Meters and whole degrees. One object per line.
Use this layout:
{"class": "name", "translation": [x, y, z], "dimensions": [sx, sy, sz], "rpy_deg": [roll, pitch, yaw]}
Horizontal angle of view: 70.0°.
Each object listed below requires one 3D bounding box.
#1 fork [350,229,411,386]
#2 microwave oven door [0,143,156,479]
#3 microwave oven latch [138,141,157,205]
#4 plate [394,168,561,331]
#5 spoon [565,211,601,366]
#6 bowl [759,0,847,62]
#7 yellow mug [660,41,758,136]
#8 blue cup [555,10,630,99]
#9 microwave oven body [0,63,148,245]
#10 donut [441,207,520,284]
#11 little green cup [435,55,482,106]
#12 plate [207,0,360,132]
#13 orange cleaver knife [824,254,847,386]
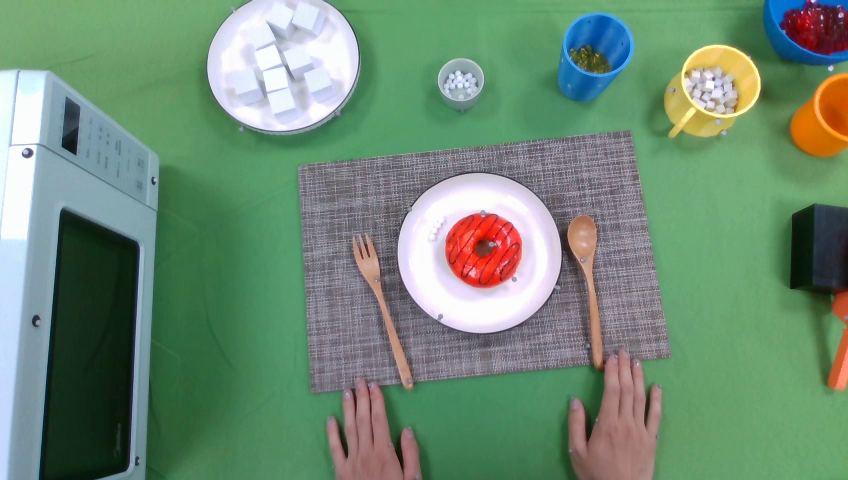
{"class": "fork", "translation": [-0.054, 0.084, 0.764], "dimensions": [0.028, 0.019, 0.206], "rpy_deg": [-16, 77, -18]}
{"class": "microwave oven door", "translation": [-0.362, 0.106, 0.641], "dimensions": [0.039, 0.245, 0.354], "rpy_deg": [-3, 78, 2]}
{"class": "microwave oven latch", "translation": [-0.365, -0.086, 0.784], "dimensions": [0.030, 0.029, 0.079], "rpy_deg": [-2, 79, 1]}
{"class": "plate", "translation": [0.066, 0.012, 0.766], "dimensions": [0.209, 0.038, 0.208], "rpy_deg": [0, 79, 2]}
{"class": "spoon", "translation": [0.204, 0.060, 0.759], "dimensions": [0.042, 0.021, 0.193], "rpy_deg": [0, 77, -24]}
{"class": "bowl", "translation": [0.507, -0.294, 0.797], "dimensions": [0.151, 0.077, 0.150], "rpy_deg": [0, 79, 2]}
{"class": "yellow mug", "translation": [0.358, -0.186, 0.786], "dimensions": [0.099, 0.064, 0.131], "rpy_deg": [42, 84, 9]}
{"class": "blue cup", "translation": [0.209, -0.231, 0.783], "dimensions": [0.092, 0.100, 0.092], "rpy_deg": [0, 80, 1]}
{"class": "microwave oven body", "translation": [-0.509, 0.073, 0.658], "dimensions": [0.326, 0.261, 0.439], "rpy_deg": [-3, 79, 1]}
{"class": "donut", "translation": [0.070, 0.007, 0.755], "dimensions": [0.099, 0.048, 0.098], "rpy_deg": [-1, 80, 4]}
{"class": "little green cup", "translation": [0.047, -0.212, 0.816], "dimensions": [0.061, 0.039, 0.061], "rpy_deg": [0, 78, 2]}
{"class": "plate", "translation": [-0.189, -0.242, 0.829], "dimensions": [0.207, 0.039, 0.206], "rpy_deg": [0, 78, 2]}
{"class": "orange cleaver knife", "translation": [0.508, 0.071, 0.721], "dimensions": [0.012, 0.077, 0.212], "rpy_deg": [9, 108, 6]}
